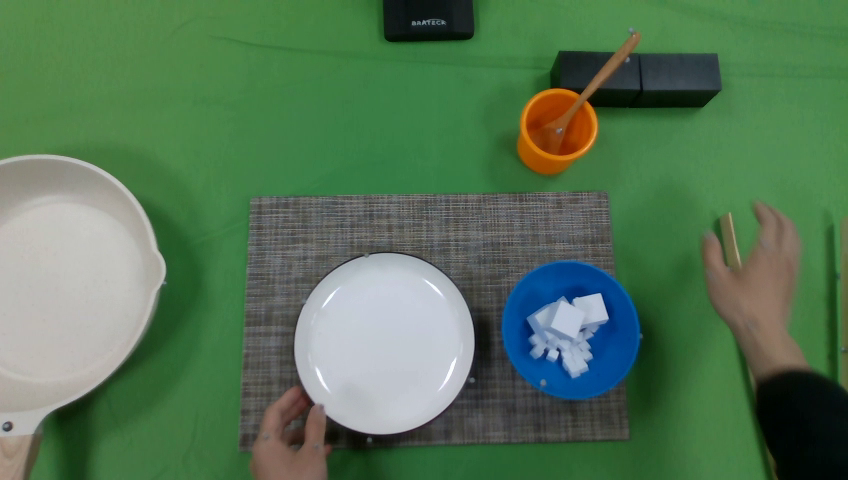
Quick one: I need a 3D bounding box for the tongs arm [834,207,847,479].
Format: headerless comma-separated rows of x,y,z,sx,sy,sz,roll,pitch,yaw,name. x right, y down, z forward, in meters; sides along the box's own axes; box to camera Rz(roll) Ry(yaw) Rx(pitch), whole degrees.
0.480,0.147,0.717,0.051,0.026,0.383,5,79,1,tongs arm

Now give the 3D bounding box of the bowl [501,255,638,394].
0.156,0.099,0.691,0.151,0.077,0.150,0,77,-2,bowl

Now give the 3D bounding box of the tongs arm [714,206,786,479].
0.398,0.146,0.720,0.028,0.028,0.385,-7,79,-5,tongs arm

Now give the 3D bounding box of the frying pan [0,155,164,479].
-0.432,0.147,0.654,0.307,0.103,0.484,-4,70,-2,frying pan

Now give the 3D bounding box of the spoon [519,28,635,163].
0.179,-0.167,0.717,0.041,0.194,0.021,47,36,11,spoon

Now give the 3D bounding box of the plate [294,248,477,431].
-0.043,0.113,0.703,0.208,0.039,0.206,0,78,-1,plate
